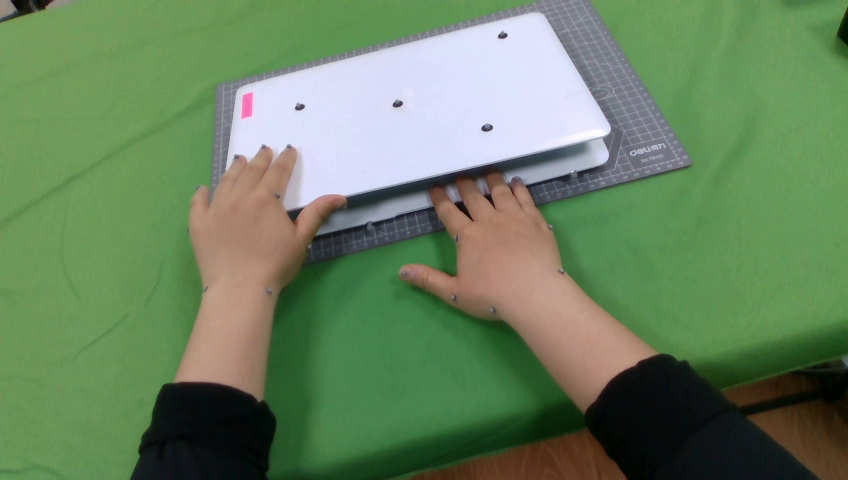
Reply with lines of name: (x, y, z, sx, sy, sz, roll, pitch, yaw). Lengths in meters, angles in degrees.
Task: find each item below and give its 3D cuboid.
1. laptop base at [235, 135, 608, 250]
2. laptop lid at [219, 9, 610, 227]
laptop base: (-0.021, -0.119, 0.620, 0.354, 0.023, 0.233, -14, 56, 2)
laptop lid: (-0.026, -0.134, 0.598, 0.357, 0.013, 0.239, -13, 47, 3)
